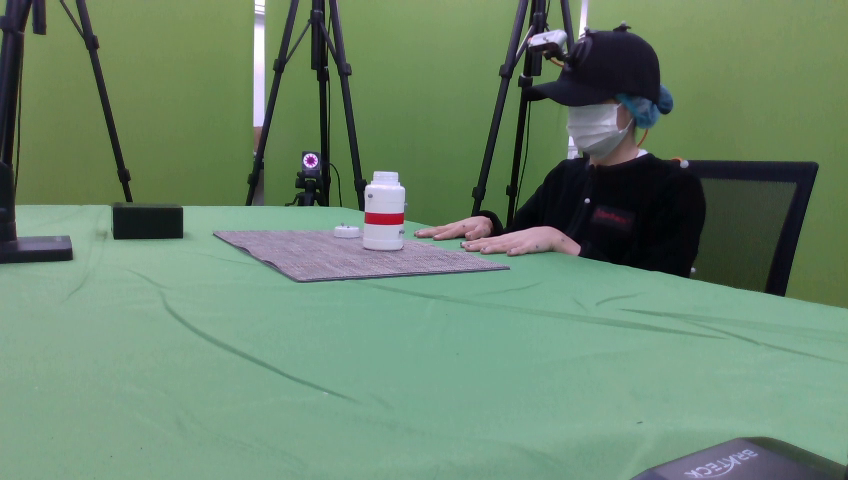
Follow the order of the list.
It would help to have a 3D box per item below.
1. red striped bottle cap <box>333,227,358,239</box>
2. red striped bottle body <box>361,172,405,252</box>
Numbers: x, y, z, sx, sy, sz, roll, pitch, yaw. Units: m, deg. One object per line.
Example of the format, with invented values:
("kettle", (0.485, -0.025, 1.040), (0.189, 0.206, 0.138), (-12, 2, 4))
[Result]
("red striped bottle cap", (-0.139, -0.013, 1.069), (0.044, 0.017, 0.044), (0, 9, 0))
("red striped bottle body", (-0.062, -0.044, 0.933), (0.063, 0.119, 0.063), (4, 8, 0))
